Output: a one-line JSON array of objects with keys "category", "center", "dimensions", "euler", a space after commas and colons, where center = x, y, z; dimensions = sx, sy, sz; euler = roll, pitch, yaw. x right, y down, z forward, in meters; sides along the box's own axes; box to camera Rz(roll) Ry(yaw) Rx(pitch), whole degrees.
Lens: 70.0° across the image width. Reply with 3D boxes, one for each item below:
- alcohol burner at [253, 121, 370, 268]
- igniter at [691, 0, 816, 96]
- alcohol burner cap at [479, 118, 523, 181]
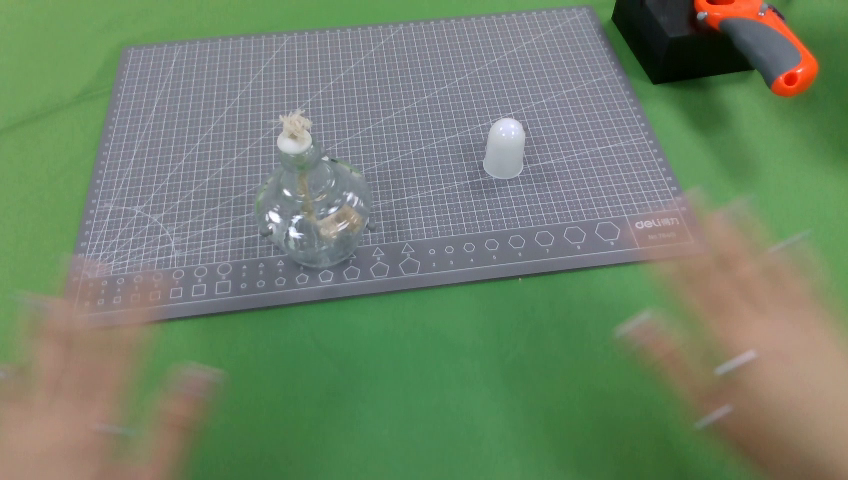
[{"category": "alcohol burner", "center": [-0.076, -0.034, 0.393], "dimensions": [0.078, 0.120, 0.077], "euler": [0, 57, 1]}, {"category": "igniter", "center": [0.247, -0.215, 0.518], "dimensions": [0.057, 0.025, 0.273], "euler": [-11, 53, -4]}, {"category": "alcohol burner cap", "center": [0.060, -0.072, 0.464], "dimensions": [0.034, 0.048, 0.033], "euler": [1, 54, -1]}]
